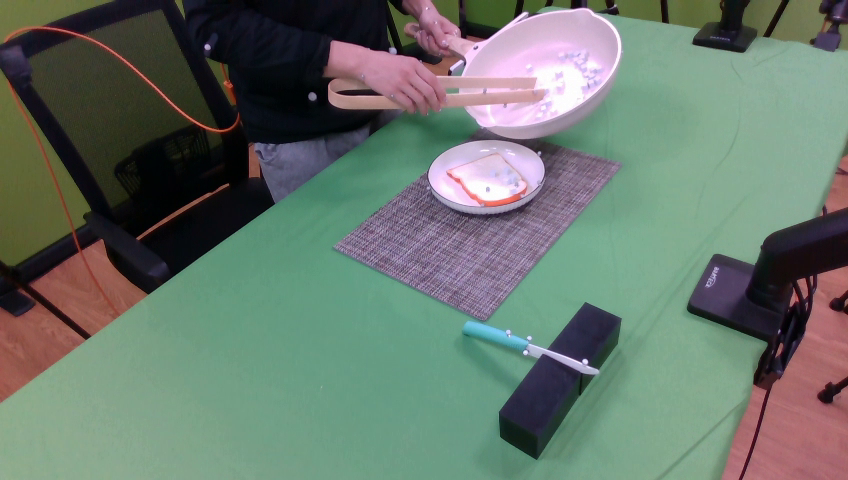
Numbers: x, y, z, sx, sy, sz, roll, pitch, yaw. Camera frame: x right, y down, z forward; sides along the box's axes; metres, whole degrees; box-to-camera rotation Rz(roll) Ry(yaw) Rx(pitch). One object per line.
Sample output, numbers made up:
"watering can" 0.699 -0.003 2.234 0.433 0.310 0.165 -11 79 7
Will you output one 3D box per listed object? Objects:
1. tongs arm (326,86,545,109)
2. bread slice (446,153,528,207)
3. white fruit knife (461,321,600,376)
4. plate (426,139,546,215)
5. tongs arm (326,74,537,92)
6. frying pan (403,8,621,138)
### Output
"tongs arm" 0.026 -0.255 1.054 0.387 0.026 0.050 -7 51 -15
"bread slice" 0.117 -0.104 1.057 0.107 0.018 0.133 -24 41 -17
"white fruit knife" 0.125 0.133 0.751 0.205 0.027 0.016 12 42 42
"plate" 0.109 -0.107 1.058 0.207 0.039 0.206 -4 40 4
"tongs arm" 0.020 -0.277 1.073 0.389 0.028 0.028 -6 54 -14
"frying pan" 0.137 -0.342 1.148 0.484 0.103 0.307 34 75 32
